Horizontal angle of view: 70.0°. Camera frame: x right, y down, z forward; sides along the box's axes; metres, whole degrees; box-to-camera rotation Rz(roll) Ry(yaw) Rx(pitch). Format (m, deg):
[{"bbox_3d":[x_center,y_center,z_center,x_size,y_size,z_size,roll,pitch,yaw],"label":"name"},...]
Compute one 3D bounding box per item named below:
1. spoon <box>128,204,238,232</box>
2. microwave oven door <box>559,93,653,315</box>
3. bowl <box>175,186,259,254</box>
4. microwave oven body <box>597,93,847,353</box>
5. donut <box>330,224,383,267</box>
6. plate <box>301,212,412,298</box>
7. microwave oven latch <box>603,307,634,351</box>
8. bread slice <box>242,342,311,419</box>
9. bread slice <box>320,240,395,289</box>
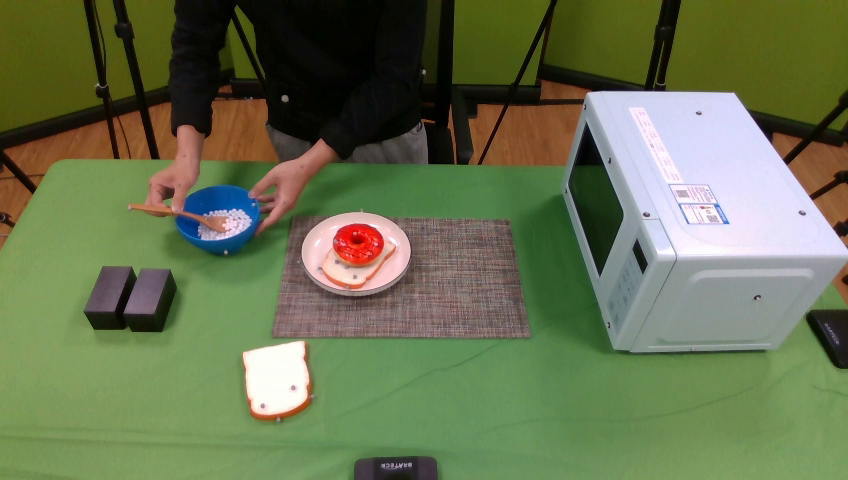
[{"bbox_3d":[-0.438,-0.045,1.111,0.195,0.021,0.041,16,40,-39],"label":"spoon"},{"bbox_3d":[0.327,-0.074,1.123,0.039,0.245,0.353,-1,46,-5],"label":"microwave oven door"},{"bbox_3d":[-0.387,-0.026,1.156,0.151,0.077,0.150,2,47,-2],"label":"bowl"},{"bbox_3d":[0.475,-0.041,1.109,0.326,0.261,0.438,-1,45,-4],"label":"microwave oven body"},{"bbox_3d":[-0.125,0.010,1.127,0.099,0.048,0.098,3,45,-3],"label":"donut"},{"bbox_3d":[-0.126,0.031,1.145,0.208,0.039,0.206,2,46,-2],"label":"plate"},{"bbox_3d":[0.332,0.153,1.044,0.030,0.029,0.078,0,45,-4],"label":"microwave oven latch"},{"bbox_3d":[-0.234,0.223,0.970,0.105,0.019,0.130,-10,46,-13],"label":"bread slice"},{"bbox_3d":[-0.129,0.037,1.140,0.107,0.018,0.134,19,47,14],"label":"bread slice"}]
